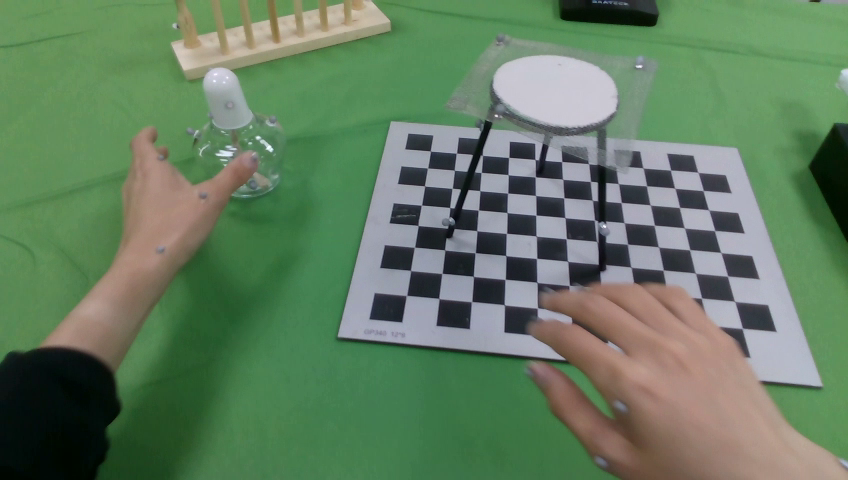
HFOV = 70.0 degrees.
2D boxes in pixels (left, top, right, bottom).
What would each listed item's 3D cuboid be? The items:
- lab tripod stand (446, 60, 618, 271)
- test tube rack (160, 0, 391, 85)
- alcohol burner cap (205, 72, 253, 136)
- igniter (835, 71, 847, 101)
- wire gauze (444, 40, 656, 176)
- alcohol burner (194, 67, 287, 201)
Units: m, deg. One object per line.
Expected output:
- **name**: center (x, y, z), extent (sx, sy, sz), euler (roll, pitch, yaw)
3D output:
- **lab tripod stand**: center (0.093, -0.057, 0.468), extent (0.148, 0.132, 0.147), euler (2, 47, -2)
- **test tube rack**: center (-0.161, -0.257, 0.682), extent (0.243, 0.086, 0.066), euler (-21, 52, -19)
- **alcohol burner cap**: center (-0.159, -0.111, 0.488), extent (0.034, 0.048, 0.033), euler (-1, 47, 2)
- **igniter**: center (0.400, -0.058, 0.490), extent (0.057, 0.025, 0.274), euler (3, 46, 6)
- **wire gauze**: center (0.090, -0.100, 0.416), extent (0.124, 0.011, 0.121), euler (19, 49, 14)
- **alcohol burner**: center (-0.158, -0.091, 0.511), extent (0.078, 0.120, 0.077), euler (-1, 48, 1)
